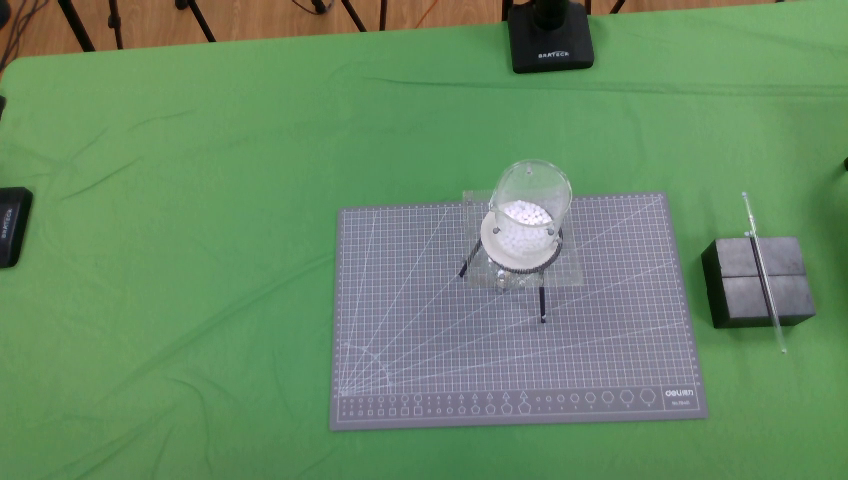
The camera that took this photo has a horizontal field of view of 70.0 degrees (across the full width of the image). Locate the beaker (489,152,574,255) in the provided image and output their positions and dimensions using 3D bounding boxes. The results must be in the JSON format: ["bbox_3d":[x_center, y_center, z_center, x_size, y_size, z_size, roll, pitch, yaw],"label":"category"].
[{"bbox_3d":[0.105,-0.032,0.625,0.084,0.101,0.073,-18,68,-3],"label":"beaker"}]

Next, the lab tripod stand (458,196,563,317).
[{"bbox_3d":[0.113,0.011,0.731,0.148,0.132,0.147,-1,66,4],"label":"lab tripod stand"}]

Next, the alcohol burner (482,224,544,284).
[{"bbox_3d":[0.110,0.011,0.741,0.078,0.120,0.077,-1,70,2],"label":"alcohol burner"}]

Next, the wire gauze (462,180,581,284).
[{"bbox_3d":[0.106,-0.010,0.668,0.125,0.011,0.120,-1,69,0],"label":"wire gauze"}]

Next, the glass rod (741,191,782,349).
[{"bbox_3d":[0.403,0.032,0.724,0.008,0.008,0.198,-2,69,3],"label":"glass rod"}]
